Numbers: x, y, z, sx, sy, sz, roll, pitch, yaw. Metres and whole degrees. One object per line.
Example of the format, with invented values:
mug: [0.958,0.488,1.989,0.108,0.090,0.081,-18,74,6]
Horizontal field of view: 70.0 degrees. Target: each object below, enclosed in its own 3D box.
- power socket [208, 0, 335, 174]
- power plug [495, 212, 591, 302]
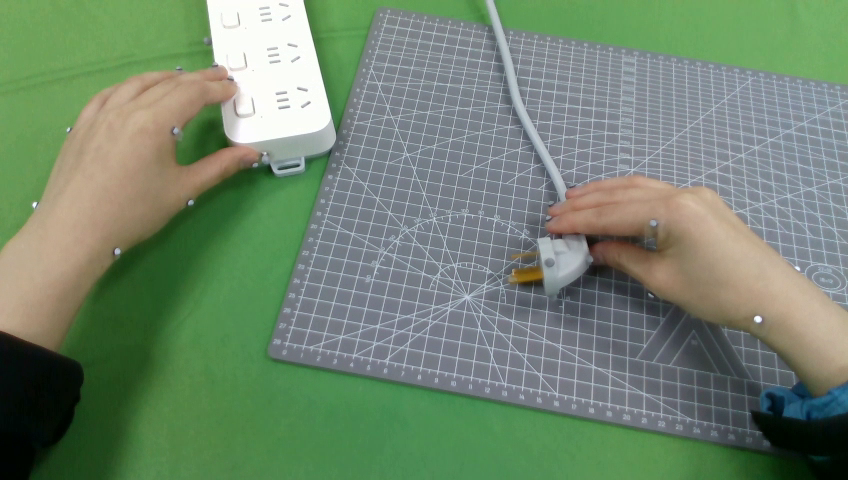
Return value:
power socket: [-0.119,-0.150,0.449,0.072,0.033,0.224,-11,63,-10]
power plug: [0.071,0.009,0.347,0.035,0.073,0.052,1,90,31]
